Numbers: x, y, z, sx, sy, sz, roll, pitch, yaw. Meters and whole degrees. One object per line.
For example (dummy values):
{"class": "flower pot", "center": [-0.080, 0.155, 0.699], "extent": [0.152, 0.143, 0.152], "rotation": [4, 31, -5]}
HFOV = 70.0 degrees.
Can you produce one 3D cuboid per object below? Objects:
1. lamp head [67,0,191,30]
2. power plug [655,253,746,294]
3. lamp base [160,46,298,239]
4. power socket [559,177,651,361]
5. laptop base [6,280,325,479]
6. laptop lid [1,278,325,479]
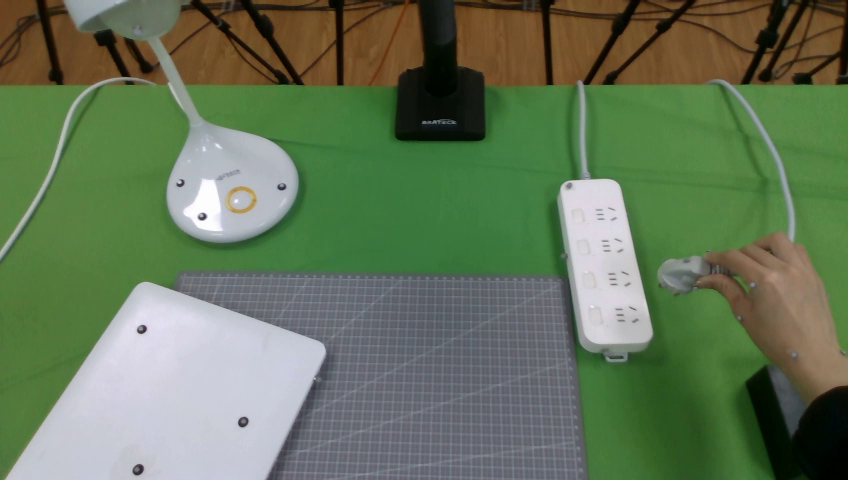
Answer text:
{"class": "lamp head", "center": [-0.219, -0.225, 0.432], "extent": [0.112, 0.111, 0.123], "rotation": [-26, 105, -13]}
{"class": "power plug", "center": [0.256, 0.039, 0.575], "extent": [0.072, 0.053, 0.035], "rotation": [25, 60, 12]}
{"class": "lamp base", "center": [-0.248, -0.118, 0.694], "extent": [0.160, 0.182, 0.177], "rotation": [-34, 61, -17]}
{"class": "power socket", "center": [0.199, 0.022, 0.679], "extent": [0.072, 0.033, 0.224], "rotation": [-1, 59, 1]}
{"class": "laptop base", "center": [-0.273, 0.222, 0.591], "extent": [0.235, 0.023, 0.352], "rotation": [18, 62, 10]}
{"class": "laptop lid", "center": [-0.271, 0.216, 0.580], "extent": [0.241, 0.013, 0.355], "rotation": [19, 62, 11]}
